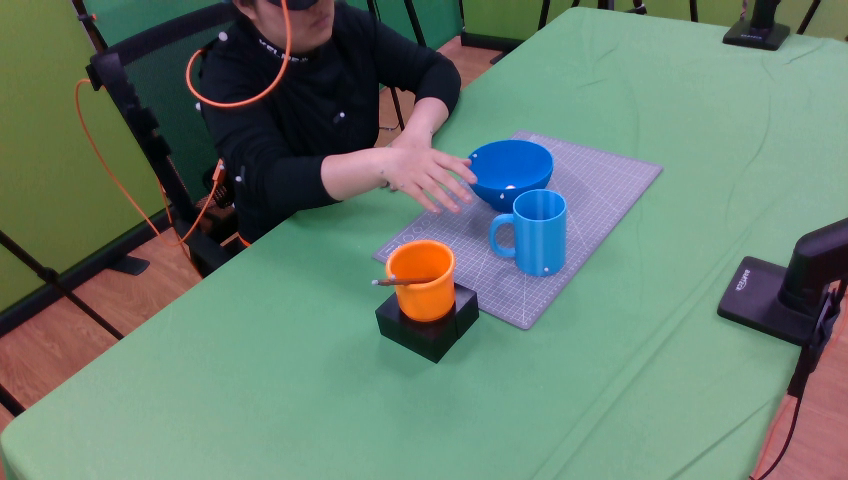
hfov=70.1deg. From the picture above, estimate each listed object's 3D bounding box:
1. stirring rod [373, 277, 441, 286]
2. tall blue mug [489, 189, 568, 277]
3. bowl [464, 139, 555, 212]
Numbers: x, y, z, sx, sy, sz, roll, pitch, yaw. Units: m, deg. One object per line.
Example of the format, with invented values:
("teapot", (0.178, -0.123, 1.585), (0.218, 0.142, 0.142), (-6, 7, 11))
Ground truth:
("stirring rod", (-0.018, 0.051, 0.757), (0.014, 0.006, 0.177), (10, 2, 24))
("tall blue mug", (0.158, -0.005, 0.886), (0.107, 0.108, 0.077), (-23, 43, -15))
("bowl", (0.145, -0.100, 1.025), (0.151, 0.077, 0.150), (-5, 40, 5))
